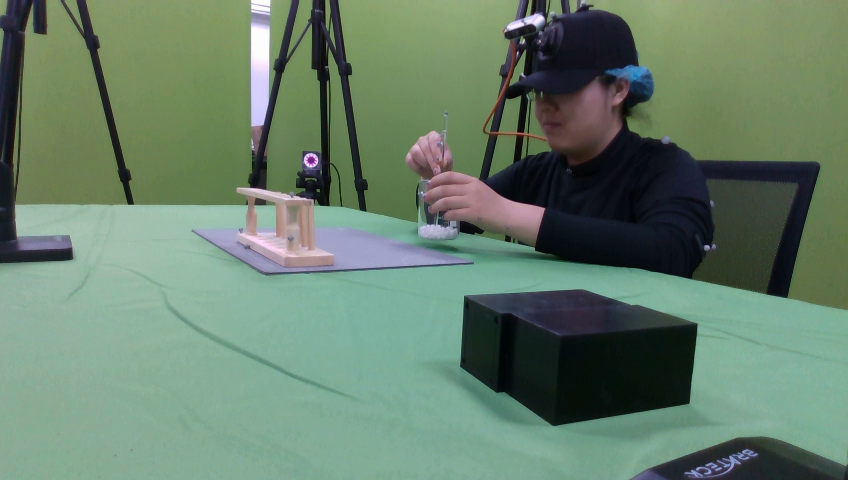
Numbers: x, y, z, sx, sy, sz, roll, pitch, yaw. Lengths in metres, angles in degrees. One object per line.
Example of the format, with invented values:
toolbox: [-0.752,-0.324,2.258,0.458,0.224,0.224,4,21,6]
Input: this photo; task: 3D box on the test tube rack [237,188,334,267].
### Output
test tube rack: [-0.202,-0.024,0.855,0.067,0.085,0.241,-2,8,-30]

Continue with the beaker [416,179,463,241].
beaker: [0.028,-0.050,1.005,0.083,0.100,0.074,5,7,39]

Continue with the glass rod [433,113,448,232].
glass rod: [0.027,-0.112,1.011,0.008,0.199,0.008,6,4,0]
